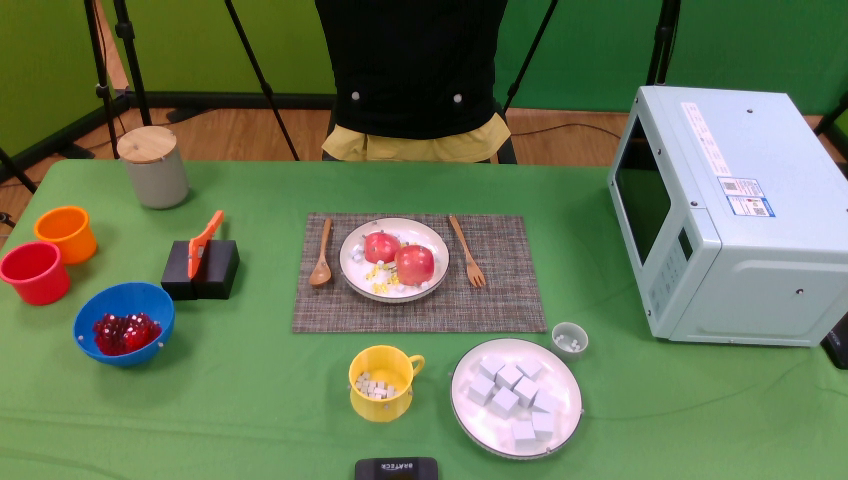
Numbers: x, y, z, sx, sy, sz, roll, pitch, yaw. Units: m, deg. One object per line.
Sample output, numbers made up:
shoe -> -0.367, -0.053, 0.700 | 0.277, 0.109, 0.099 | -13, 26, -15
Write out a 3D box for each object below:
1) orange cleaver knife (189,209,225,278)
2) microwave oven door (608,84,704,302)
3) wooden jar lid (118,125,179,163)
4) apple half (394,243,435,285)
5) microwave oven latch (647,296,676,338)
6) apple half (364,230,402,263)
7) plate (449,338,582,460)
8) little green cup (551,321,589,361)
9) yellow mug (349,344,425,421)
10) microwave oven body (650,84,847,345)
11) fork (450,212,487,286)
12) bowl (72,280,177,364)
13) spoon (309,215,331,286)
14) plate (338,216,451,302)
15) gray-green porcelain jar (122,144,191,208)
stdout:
orange cleaver knife -> -0.400, 0.002, 1.122 | 0.012, 0.077, 0.210 | 4, 23, -4
microwave oven door -> 0.424, -0.096, 1.138 | 0.039, 0.245, 0.353 | 3, 46, -1
wooden jar lid -> -0.528, -0.181, 1.167 | 0.108, 0.021, 0.107 | 4, 48, -4
apple half -> -0.016, 0.037, 1.120 | 0.075, 0.053, 0.080 | 1, 46, -6
microwave oven latch -> 0.413, 0.133, 1.060 | 0.030, 0.029, 0.078 | 4, 46, 1
apple half -> -0.079, 0.005, 1.159 | 0.081, 0.033, 0.081 | 3, 49, -3
plate -> 0.141, 0.251, 0.956 | 0.208, 0.039, 0.206 | 2, 46, -2
little green cup -> 0.247, 0.175, 1.033 | 0.061, 0.039, 0.061 | 2, 45, -2
yellow mug -> -0.054, 0.216, 0.954 | 0.131, 0.064, 0.099 | -24, 53, -25
microwave oven body -> 0.569, -0.054, 1.116 | 0.326, 0.261, 0.439 | 2, 46, -1
fork -> 0.082, 0.014, 1.183 | 0.028, 0.019, 0.206 | -18, 50, -2
bowl -> -0.472, 0.147, 0.982 | 0.151, 0.077, 0.150 | 2, 46, -2
spoon -> -0.191, 0.016, 1.159 | 0.041, 0.022, 0.192 | -14, 46, 12
plate -> -0.054, 0.038, 1.138 | 0.209, 0.038, 0.208 | 2, 46, -2
gray-green porcelain jar -> -0.531, -0.137, 1.214 | 0.106, 0.127, 0.105 | 2, 47, -2
